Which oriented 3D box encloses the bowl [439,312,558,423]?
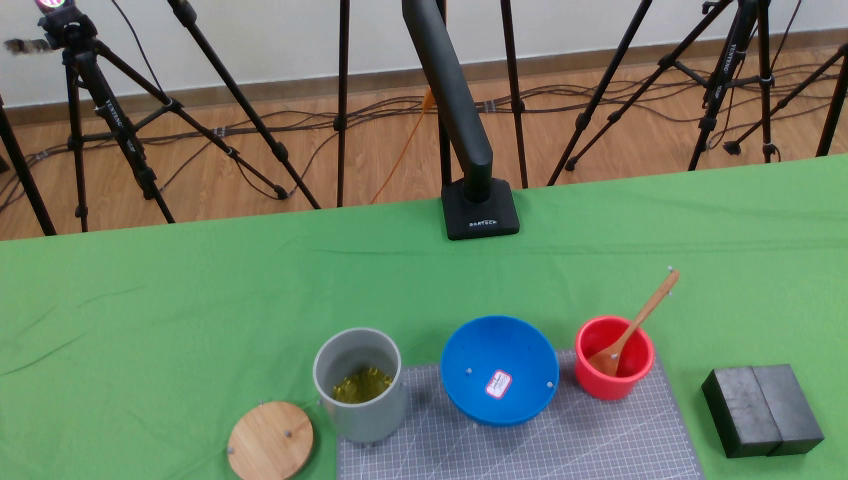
[{"bbox_3d":[0.095,0.177,0.793,0.151,0.077,0.150,-1,51,2],"label":"bowl"}]

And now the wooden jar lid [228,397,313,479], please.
[{"bbox_3d":[-0.197,0.258,0.784,0.108,0.021,0.107,-2,51,2],"label":"wooden jar lid"}]

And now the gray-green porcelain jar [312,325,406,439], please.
[{"bbox_3d":[-0.078,0.184,0.764,0.106,0.127,0.105,-1,51,2],"label":"gray-green porcelain jar"}]

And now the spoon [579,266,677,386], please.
[{"bbox_3d":[0.269,0.113,0.793,0.041,0.022,0.194,42,108,30],"label":"spoon"}]
